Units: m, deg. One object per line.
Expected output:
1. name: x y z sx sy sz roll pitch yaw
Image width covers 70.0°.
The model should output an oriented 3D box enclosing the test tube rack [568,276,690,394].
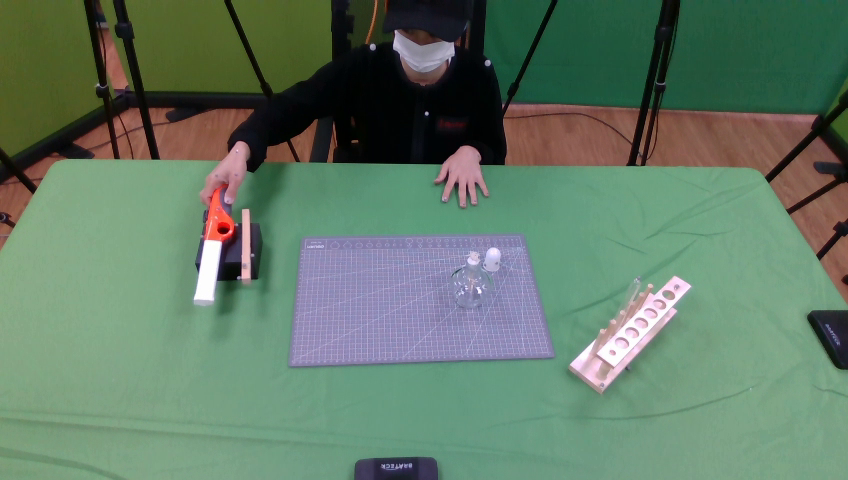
1. test tube rack: 0.353 0.149 1.038 0.242 0.085 0.066 -34 57 -31

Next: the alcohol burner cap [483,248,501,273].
1. alcohol burner cap: 0.130 0.037 1.156 0.034 0.048 0.033 1 46 -1

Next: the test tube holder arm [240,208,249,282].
1. test tube holder arm: -0.323 0.005 1.096 0.015 0.013 0.177 -1 48 -15

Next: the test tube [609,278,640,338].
1. test tube: 0.331 0.115 1.007 0.017 0.151 0.017 2 45 -2

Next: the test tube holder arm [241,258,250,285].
1. test tube holder arm: -0.316 0.042 1.071 0.015 0.010 0.087 -1 49 -15

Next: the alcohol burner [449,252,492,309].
1. alcohol burner: 0.084 0.066 1.074 0.078 0.120 0.077 1 44 -1

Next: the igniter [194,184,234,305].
1. igniter: -0.378 -0.002 1.093 0.057 0.025 0.274 7 49 -16
